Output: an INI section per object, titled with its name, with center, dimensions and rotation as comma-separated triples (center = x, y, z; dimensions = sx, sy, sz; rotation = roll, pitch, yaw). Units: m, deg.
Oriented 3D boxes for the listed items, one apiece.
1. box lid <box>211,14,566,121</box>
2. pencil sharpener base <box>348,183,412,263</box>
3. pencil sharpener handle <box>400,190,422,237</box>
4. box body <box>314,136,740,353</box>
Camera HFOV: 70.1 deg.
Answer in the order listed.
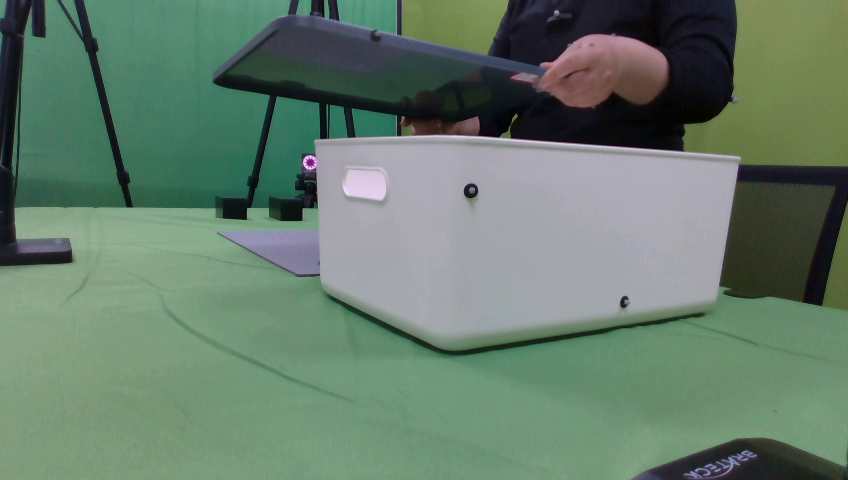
[box lid]
center = -0.043, -0.188, 0.726
dimensions = 0.374, 0.015, 0.262
rotation = 1, -1, -34
[pencil sharpener base]
center = -0.059, -0.024, 0.846
dimensions = 0.077, 0.107, 0.061
rotation = -1, 7, -30
[pencil sharpener handle]
center = -0.016, -0.038, 0.872
dimensions = 0.031, 0.067, 0.036
rotation = -1, 15, -30
[box body]
center = 0.098, -0.012, 0.605
dimensions = 0.366, 0.160, 0.253
rotation = -2, 8, -33
